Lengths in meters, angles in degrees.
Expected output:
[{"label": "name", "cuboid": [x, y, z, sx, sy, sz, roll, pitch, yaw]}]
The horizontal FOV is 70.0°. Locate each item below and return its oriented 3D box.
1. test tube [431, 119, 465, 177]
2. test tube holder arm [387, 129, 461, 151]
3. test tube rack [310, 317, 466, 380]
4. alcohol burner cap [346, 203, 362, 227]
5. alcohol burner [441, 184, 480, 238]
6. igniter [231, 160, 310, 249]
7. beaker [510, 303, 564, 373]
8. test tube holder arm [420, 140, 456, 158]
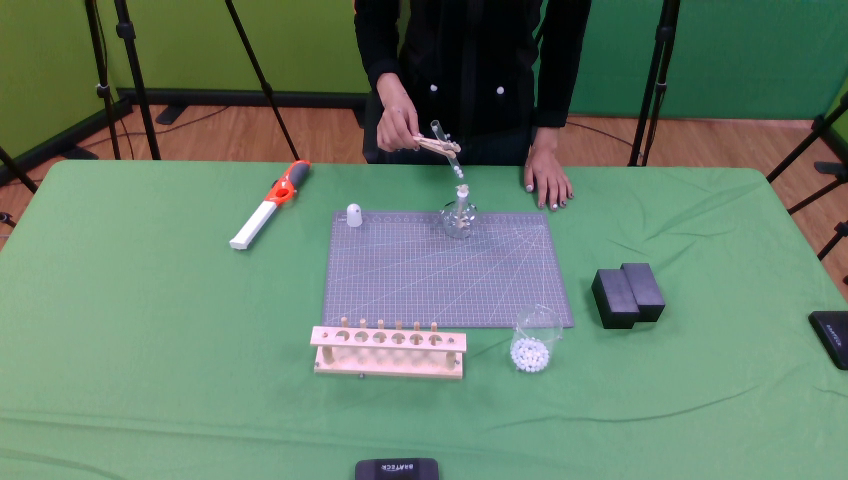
[{"label": "test tube", "cuboid": [0.045, -0.161, 1.087, 0.017, 0.151, 0.017, -12, 54, 17]}, {"label": "test tube holder arm", "cuboid": [-0.004, -0.186, 1.127, 0.177, 0.015, 0.013, 21, 67, 39]}, {"label": "test tube rack", "cuboid": [-0.056, 0.171, 0.987, 0.242, 0.085, 0.066, 3, 45, -1]}, {"label": "alcohol burner cap", "cuboid": [-0.141, -0.053, 1.222, 0.034, 0.048, 0.033, 2, 47, -2]}, {"label": "alcohol burner", "cuboid": [0.073, -0.061, 1.195, 0.078, 0.120, 0.077, 1, 47, -1]}, {"label": "igniter", "cuboid": [-0.311, -0.081, 1.250, 0.057, 0.025, 0.275, 9, 45, 18]}, {"label": "beaker", "cuboid": [0.182, 0.164, 1.000, 0.074, 0.101, 0.083, 2, 46, -1]}, {"label": "test tube holder arm", "cuboid": [0.024, -0.168, 1.097, 0.087, 0.015, 0.010, 30, 73, 42]}]
